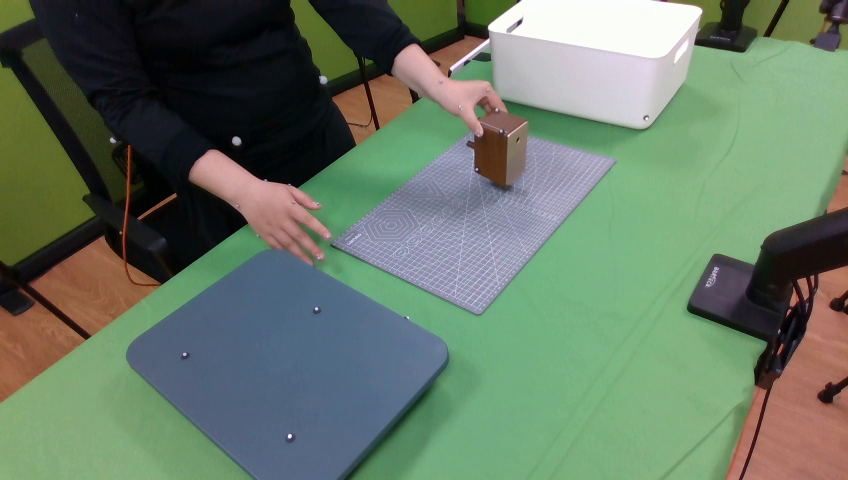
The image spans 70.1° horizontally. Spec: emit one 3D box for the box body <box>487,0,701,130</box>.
[{"bbox_3d":[0.345,-0.379,1.257,0.361,0.161,0.255,20,48,29],"label":"box body"}]

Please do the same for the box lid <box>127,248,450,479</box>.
[{"bbox_3d":[-0.177,0.145,0.768,0.368,0.015,0.264,24,50,32],"label":"box lid"}]

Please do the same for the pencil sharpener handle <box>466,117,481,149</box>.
[{"bbox_3d":[0.088,-0.186,1.042,0.030,0.068,0.036,28,45,32],"label":"pencil sharpener handle"}]

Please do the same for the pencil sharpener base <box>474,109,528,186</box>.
[{"bbox_3d":[0.128,-0.157,1.025,0.076,0.107,0.061,28,51,31],"label":"pencil sharpener base"}]
